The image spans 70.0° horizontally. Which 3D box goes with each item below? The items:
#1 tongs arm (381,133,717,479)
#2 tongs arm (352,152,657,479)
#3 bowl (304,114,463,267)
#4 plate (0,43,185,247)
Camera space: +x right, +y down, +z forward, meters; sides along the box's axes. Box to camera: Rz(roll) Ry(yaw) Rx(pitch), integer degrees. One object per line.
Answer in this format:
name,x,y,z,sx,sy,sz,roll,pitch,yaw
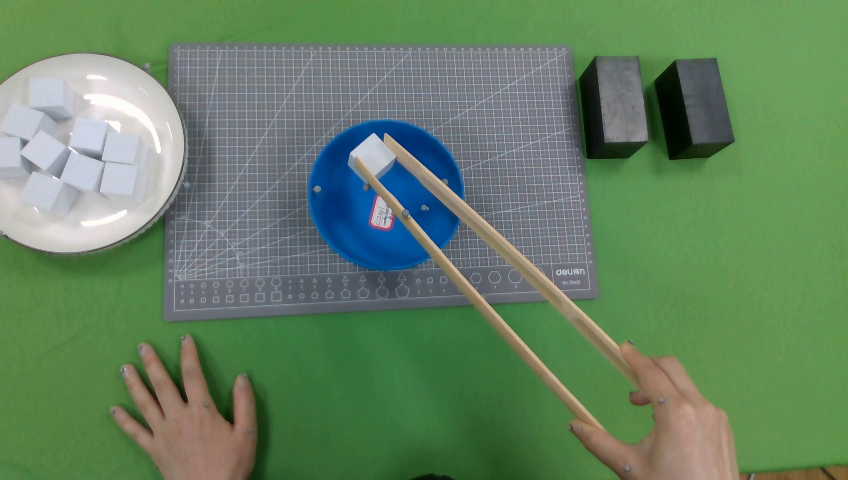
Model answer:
tongs arm,0.091,0.043,0.505,0.028,0.028,0.385,-38,75,-24
tongs arm,0.074,0.057,0.497,0.051,0.027,0.382,-34,74,-20
bowl,-0.042,-0.041,0.609,0.152,0.077,0.150,2,79,-7
plate,-0.342,-0.093,0.603,0.208,0.039,0.206,1,79,-6
